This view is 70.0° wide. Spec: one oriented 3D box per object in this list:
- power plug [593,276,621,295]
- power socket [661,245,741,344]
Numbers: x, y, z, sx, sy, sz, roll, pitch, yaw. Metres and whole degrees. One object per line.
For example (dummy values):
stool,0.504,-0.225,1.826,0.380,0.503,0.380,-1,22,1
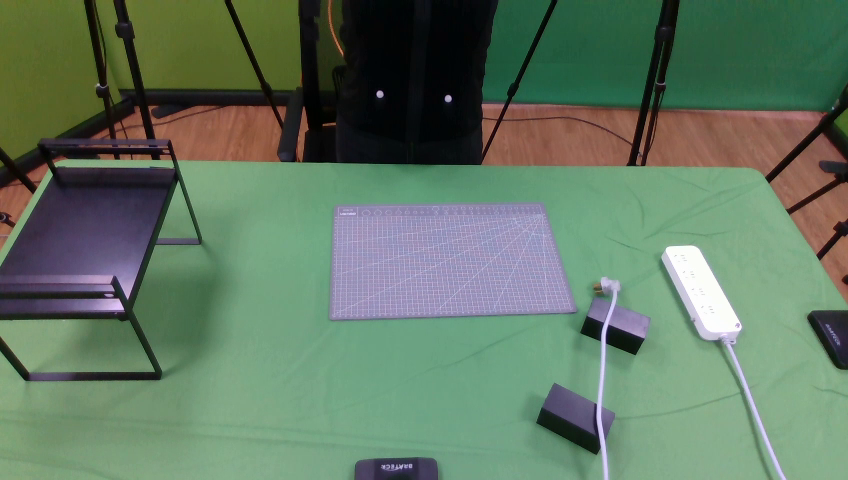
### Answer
power plug,0.332,0.085,1.115,0.073,0.052,0.035,-7,81,-59
power socket,0.515,0.094,1.138,0.072,0.033,0.225,-3,47,-5
